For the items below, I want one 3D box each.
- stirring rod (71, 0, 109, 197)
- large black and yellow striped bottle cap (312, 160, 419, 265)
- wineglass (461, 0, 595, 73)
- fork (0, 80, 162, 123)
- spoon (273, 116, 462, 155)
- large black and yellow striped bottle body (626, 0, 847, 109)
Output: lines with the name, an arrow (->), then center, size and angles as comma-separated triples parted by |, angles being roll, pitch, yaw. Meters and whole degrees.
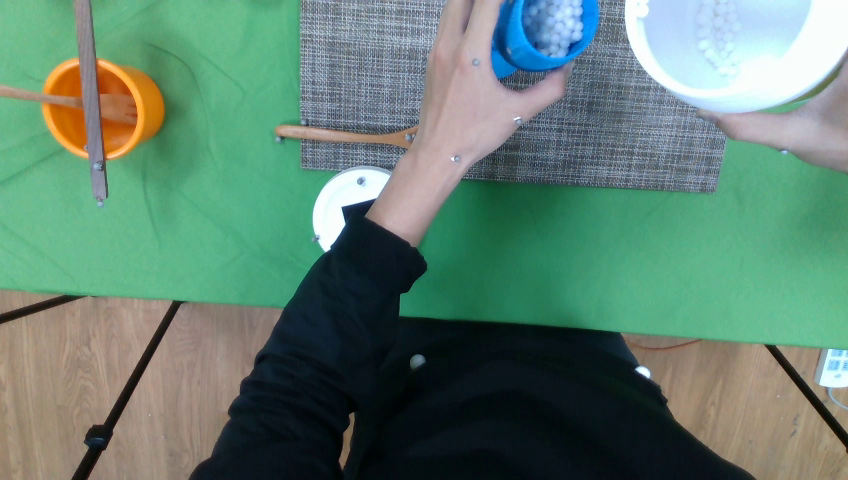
stirring rod -> -0.298, -0.125, 0.541 | 0.014, 0.006, 0.177 | 2, 107, -2
large black and yellow striped bottle cap -> -0.063, -0.028, 0.652 | 0.115, 0.018, 0.115 | -1, 111, -2
wineglass -> 0.081, -0.182, 0.521 | 0.074, 0.171, 0.074 | -2, 102, -9
fork -> -0.340, -0.131, 0.540 | 0.209, 0.018, 0.028 | 1, 120, -48
spoon -> -0.059, -0.111, 0.620 | 0.194, 0.021, 0.042 | 2, 127, -3
large black and yellow striped bottle body -> 0.224, -0.157, 0.404 | 0.129, 0.184, 0.131 | 15, 113, 39
